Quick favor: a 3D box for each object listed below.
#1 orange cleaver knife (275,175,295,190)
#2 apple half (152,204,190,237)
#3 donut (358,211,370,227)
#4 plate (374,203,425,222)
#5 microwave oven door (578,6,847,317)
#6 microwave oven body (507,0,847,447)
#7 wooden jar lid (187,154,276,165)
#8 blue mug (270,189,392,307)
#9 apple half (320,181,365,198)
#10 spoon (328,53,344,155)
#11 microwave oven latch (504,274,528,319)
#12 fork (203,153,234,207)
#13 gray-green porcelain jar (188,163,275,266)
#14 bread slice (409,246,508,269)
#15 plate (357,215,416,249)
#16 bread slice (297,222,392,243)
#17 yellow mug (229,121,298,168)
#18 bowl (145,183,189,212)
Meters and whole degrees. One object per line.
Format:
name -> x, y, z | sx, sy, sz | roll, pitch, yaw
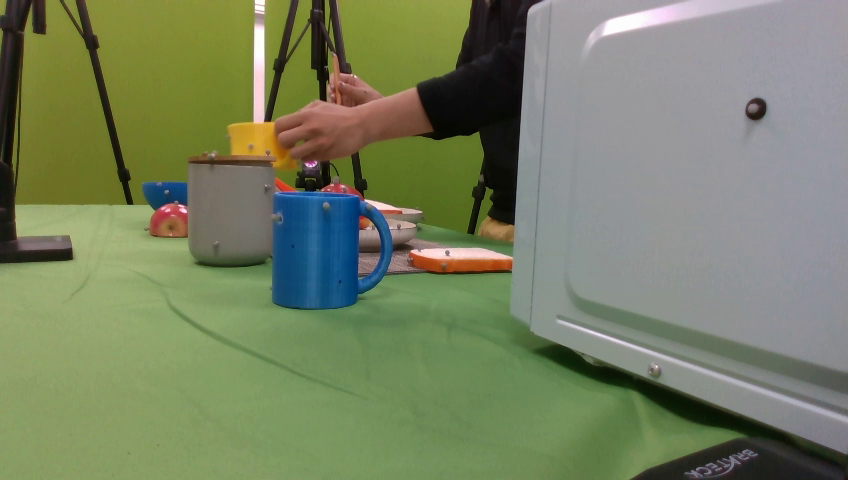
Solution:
orange cleaver knife -> -0.283, -0.087, 1.343 | 0.212, 0.077, 0.012 | 24, -16, -41
apple half -> -0.415, -0.034, 1.017 | 0.081, 0.053, 0.074 | 1, 10, -9
donut -> -0.132, -0.042, 0.959 | 0.099, 0.048, 0.099 | 2, 8, 0
plate -> -0.102, -0.053, 1.299 | 0.209, 0.038, 0.209 | 2, 8, 0
microwave oven door -> 0.294, -0.067, 0.570 | 0.358, 0.243, 0.039 | -3, 9, -31
microwave oven body -> 0.331, -0.042, 0.425 | 0.444, 0.260, 0.324 | -2, 8, -31
wooden jar lid -> -0.244, -0.097, 0.771 | 0.108, 0.020, 0.108 | -1, 7, 0
blue mug -> -0.090, 0.005, 0.588 | 0.117, 0.106, 0.082 | 1, 7, -11
apple half -> -0.130, -0.077, 0.952 | 0.081, 0.033, 0.081 | 3, 14, 0
spoon -> -0.159, -0.248, 1.098 | 0.021, 0.193, 0.042 | -4, -8, 30
microwave oven latch -> 0.100, 0.041, 0.470 | 0.079, 0.029, 0.030 | -1, 7, -27
fork -> -0.480, -0.134, 1.411 | 0.028, 0.018, 0.207 | 1, -35, 0
gray-green porcelain jar -> -0.246, -0.034, 0.779 | 0.106, 0.126, 0.106 | 1, 7, 0
bread slice -> 0.048, 0.022, 0.816 | 0.132, 0.019, 0.104 | 0, 6, -24
plate -> -0.116, -0.014, 0.967 | 0.208, 0.039, 0.207 | 2, 8, 0
bread slice -> -0.121, -0.014, 0.970 | 0.106, 0.018, 0.135 | 10, 11, 41
yellow mug -> -0.235, -0.144, 0.919 | 0.130, 0.064, 0.100 | 2, 6, 44
bowl -> -0.459, -0.068, 1.175 | 0.151, 0.077, 0.151 | 3, 7, 0
